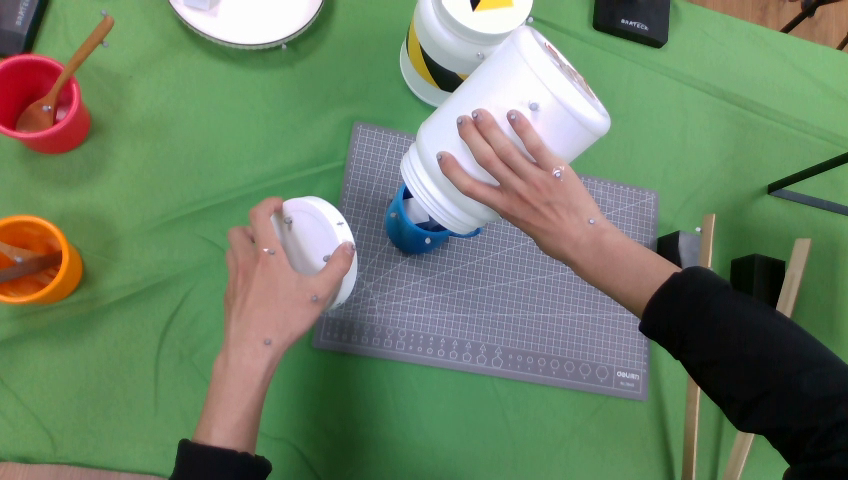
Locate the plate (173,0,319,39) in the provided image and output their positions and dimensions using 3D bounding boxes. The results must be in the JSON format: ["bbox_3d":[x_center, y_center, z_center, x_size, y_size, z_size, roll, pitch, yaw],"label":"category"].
[{"bbox_3d":[-0.231,-0.351,0.782,0.208,0.039,0.206,3,79,-13],"label":"plate"}]

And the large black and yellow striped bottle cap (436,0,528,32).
[{"bbox_3d":[0.064,-0.289,0.677,0.115,0.019,0.114,3,80,-14],"label":"large black and yellow striped bottle cap"}]

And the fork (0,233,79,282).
[{"bbox_3d":[-0.446,-0.012,0.607,0.209,0.018,0.028,45,64,-47],"label":"fork"}]

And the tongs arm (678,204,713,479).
[{"bbox_3d":[0.367,0.147,0.793,0.051,0.026,0.384,7,90,-15],"label":"tongs arm"}]

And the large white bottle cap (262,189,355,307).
[{"bbox_3d":[-0.114,0.008,0.589,0.018,0.114,0.114,-13,80,-54],"label":"large white bottle cap"}]

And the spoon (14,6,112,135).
[{"bbox_3d":[-0.392,-0.182,0.655,0.194,0.021,0.041,-37,84,26],"label":"spoon"}]

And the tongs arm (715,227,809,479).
[{"bbox_3d":[0.446,0.164,0.811,0.028,0.027,0.387,21,87,-17],"label":"tongs arm"}]

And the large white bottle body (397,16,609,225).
[{"bbox_3d":[0.073,-0.111,0.606,0.185,0.130,0.130,-41,89,26],"label":"large white bottle body"}]

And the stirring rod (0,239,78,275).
[{"bbox_3d":[-0.431,0.030,0.609,0.014,0.006,0.176,57,31,-1],"label":"stirring rod"}]

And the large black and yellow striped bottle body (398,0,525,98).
[{"bbox_3d":[0.046,-0.271,0.756,0.131,0.184,0.130,3,78,-13],"label":"large black and yellow striped bottle body"}]

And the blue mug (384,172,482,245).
[{"bbox_3d":[0.014,-0.039,0.742,0.117,0.106,0.082,18,75,-9],"label":"blue mug"}]
